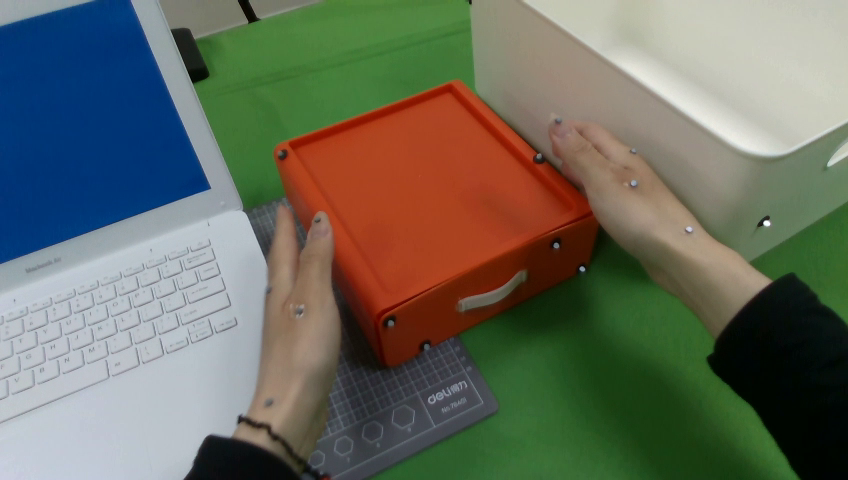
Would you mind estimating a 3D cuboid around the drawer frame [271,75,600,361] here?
[{"bbox_3d":[0.002,-0.032,0.528,0.202,0.083,0.211,-25,52,-17],"label":"drawer frame"}]

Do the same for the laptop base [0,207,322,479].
[{"bbox_3d":[-0.279,0.113,0.474,0.355,0.023,0.233,-22,55,-14],"label":"laptop base"}]

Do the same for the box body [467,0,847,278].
[{"bbox_3d":[0.231,-0.164,0.570,0.254,0.162,0.360,-27,53,-17],"label":"box body"}]

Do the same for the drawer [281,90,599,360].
[{"bbox_3d":[0.006,-0.028,0.527,0.195,0.074,0.209,-25,52,-16],"label":"drawer"}]

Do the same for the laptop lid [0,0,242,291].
[{"bbox_3d":[-0.362,-0.068,0.499,0.357,0.243,0.013,-24,23,-13],"label":"laptop lid"}]

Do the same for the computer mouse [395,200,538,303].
[{"bbox_3d":[0.034,0.007,0.506,0.117,0.041,0.062,-20,55,-3],"label":"computer mouse"}]
